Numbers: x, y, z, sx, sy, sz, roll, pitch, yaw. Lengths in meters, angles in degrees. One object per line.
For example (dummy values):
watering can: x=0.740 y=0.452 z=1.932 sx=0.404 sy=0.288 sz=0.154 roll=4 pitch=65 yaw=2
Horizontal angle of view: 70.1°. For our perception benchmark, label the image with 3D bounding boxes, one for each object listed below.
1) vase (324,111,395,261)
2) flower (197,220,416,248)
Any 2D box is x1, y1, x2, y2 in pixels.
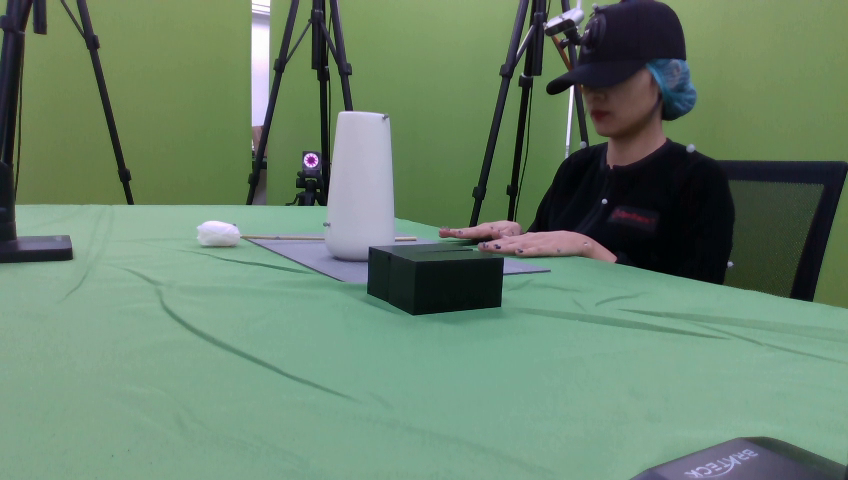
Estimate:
vase: x=-0.087 y=-0.074 z=0.829 sx=0.098 sy=0.200 sz=0.098 roll=2 pitch=9 yaw=0
flower: x=-0.174 y=-0.001 z=0.978 sx=0.364 sy=0.038 sz=0.044 roll=4 pitch=-31 yaw=-29
